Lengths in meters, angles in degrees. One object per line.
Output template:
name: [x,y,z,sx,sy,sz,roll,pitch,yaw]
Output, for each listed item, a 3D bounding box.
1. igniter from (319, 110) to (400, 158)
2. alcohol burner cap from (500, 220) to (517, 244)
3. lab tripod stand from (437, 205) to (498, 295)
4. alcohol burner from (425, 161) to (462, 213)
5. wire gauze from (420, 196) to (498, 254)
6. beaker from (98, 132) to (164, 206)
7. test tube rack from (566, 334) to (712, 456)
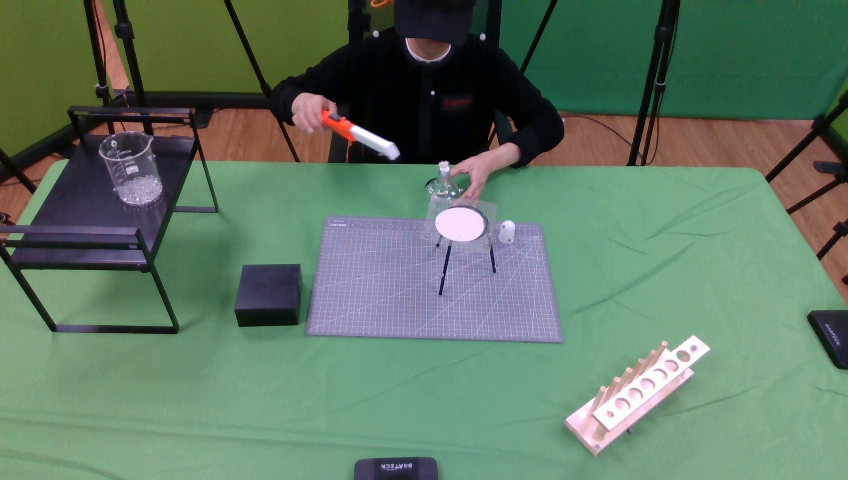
igniter: [-0.133,-0.210,1.172,0.025,0.057,0.275,-44,42,-13]
alcohol burner cap: [0.170,-0.018,1.205,0.034,0.048,0.033,1,46,0]
lab tripod stand: [0.066,0.010,1.107,0.148,0.132,0.147,0,46,0]
alcohol burner: [0.042,-0.115,1.245,0.078,0.119,0.077,3,46,-3]
wire gauze: [0.062,-0.032,1.054,0.125,0.011,0.121,9,46,8]
beaker: [-0.460,-0.112,0.968,0.073,0.101,0.084,37,54,28]
test tube rack: [0.339,0.228,0.951,0.242,0.085,0.066,-26,52,-26]
